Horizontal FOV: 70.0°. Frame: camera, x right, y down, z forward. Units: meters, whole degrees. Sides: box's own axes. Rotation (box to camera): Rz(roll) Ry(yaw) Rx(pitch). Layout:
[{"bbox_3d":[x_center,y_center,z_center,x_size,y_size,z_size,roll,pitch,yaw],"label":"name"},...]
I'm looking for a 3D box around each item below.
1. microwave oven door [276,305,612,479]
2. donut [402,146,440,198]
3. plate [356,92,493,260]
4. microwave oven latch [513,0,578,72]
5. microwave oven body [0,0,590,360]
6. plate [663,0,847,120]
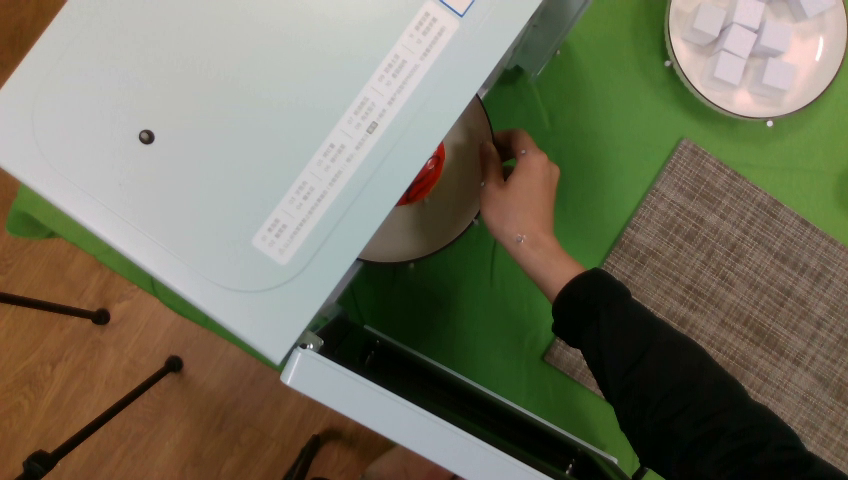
[{"bbox_3d":[0.051,0.169,0.551,0.356,0.243,0.039,28,88,-2],"label":"microwave oven door"},{"bbox_3d":[-0.034,-0.087,0.577,0.099,0.048,0.099,0,95,2],"label":"donut"},{"bbox_3d":[-0.039,-0.085,0.587,0.209,0.038,0.209,0,94,-2],"label":"plate"},{"bbox_3d":[0.131,-0.223,0.656,0.030,0.029,0.079,40,89,-2],"label":"microwave oven latch"},{"bbox_3d":[-0.089,-0.168,0.550,0.326,0.260,0.441,36,89,-2],"label":"microwave oven body"},{"bbox_3d":[0.370,-0.237,0.686,0.208,0.039,0.207,0,90,-3],"label":"plate"}]
